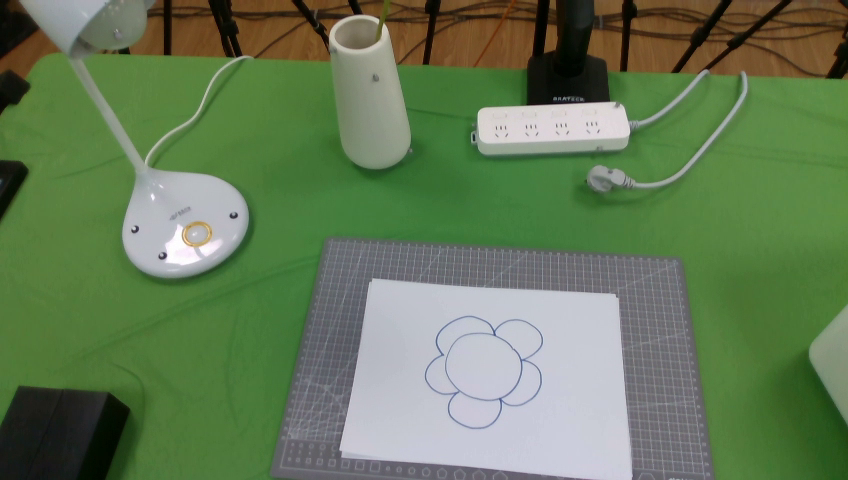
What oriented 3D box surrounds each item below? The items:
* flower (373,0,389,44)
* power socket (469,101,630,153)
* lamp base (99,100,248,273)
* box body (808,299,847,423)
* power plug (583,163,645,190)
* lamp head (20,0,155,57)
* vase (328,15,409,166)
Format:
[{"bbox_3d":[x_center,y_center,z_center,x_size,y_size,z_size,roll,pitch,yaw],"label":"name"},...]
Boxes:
[{"bbox_3d":[-0.058,-0.225,0.713,0.044,0.363,0.038,-33,78,-27],"label":"flower"},{"bbox_3d":[0.178,-0.160,0.858,0.227,0.033,0.071,-1,57,1],"label":"power socket"},{"bbox_3d":[-0.325,-0.075,0.735,0.178,0.182,0.160,33,63,25],"label":"lamp base"},{"bbox_3d":[0.565,0.187,0.535,0.254,0.162,0.360,-12,57,-5],"label":"box body"},{"bbox_3d":[0.245,-0.073,0.798,0.073,0.052,0.035,37,73,-8],"label":"power plug"},{"bbox_3d":[-0.289,-0.227,0.487,0.123,0.112,0.112,44,62,-15],"label":"lamp head"},{"bbox_3d":[-0.074,-0.188,0.787,0.098,0.202,0.097,-2,56,3],"label":"vase"}]
